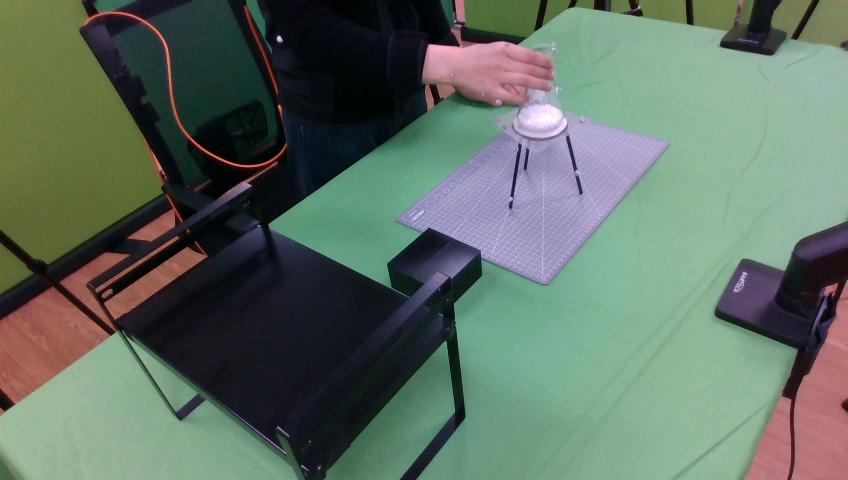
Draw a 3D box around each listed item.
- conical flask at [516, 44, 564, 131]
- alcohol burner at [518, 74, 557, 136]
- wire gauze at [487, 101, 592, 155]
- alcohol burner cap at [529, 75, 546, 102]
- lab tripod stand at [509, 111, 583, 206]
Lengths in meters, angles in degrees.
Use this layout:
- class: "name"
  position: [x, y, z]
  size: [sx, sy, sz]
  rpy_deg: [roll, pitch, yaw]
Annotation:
- class: "conical flask"
  position: [0.180, -0.237, 0.931]
  size: [0.075, 0.122, 0.075]
  rpy_deg: [-4, 42, 5]
- class: "alcohol burner"
  position: [0.221, -0.265, 1.179]
  size: [0.078, 0.119, 0.077]
  rpy_deg: [-5, 39, 5]
- class: "wire gauze"
  position: [0.185, -0.188, 0.974]
  size: [0.122, 0.011, 0.124]
  rpy_deg: [-28, 44, -22]
- class: "alcohol burner cap"
  position: [0.218, -0.292, 1.156]
  size: [0.034, 0.048, 0.033]
  rpy_deg: [-4, 46, 4]
- class: "lab tripod stand"
  position: [0.198, -0.139, 1.020]
  size: [0.148, 0.132, 0.147]
  rpy_deg: [-3, 39, 3]
